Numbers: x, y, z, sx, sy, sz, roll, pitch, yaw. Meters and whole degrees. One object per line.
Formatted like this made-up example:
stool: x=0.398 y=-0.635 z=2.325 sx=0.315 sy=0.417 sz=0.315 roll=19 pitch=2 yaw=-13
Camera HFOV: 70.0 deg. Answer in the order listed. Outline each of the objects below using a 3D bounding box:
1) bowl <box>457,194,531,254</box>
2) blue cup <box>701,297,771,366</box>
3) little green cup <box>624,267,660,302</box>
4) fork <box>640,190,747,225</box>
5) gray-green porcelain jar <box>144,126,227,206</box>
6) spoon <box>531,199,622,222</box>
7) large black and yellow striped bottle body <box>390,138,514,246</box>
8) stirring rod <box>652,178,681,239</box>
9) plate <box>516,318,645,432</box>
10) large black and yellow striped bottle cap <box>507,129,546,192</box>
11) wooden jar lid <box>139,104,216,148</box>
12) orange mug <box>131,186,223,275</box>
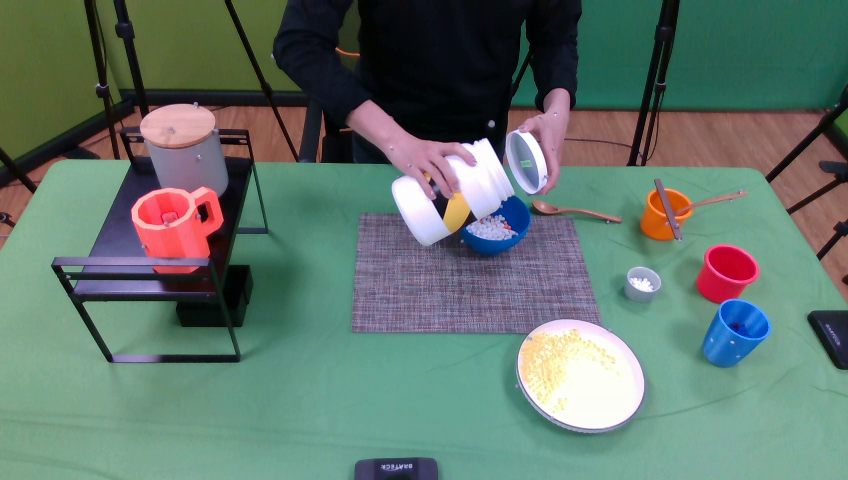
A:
bowl: x=0.128 y=-0.025 z=1.187 sx=0.151 sy=0.077 sz=0.150 roll=2 pitch=45 yaw=-2
blue cup: x=0.519 y=0.162 z=1.025 sx=0.093 sy=0.101 sz=0.092 roll=3 pitch=45 yaw=-3
little green cup: x=0.406 y=0.084 z=1.135 sx=0.061 sy=0.039 sz=0.061 roll=3 pitch=46 yaw=-3
fork: x=0.533 y=-0.064 z=1.211 sx=0.207 sy=0.019 sz=0.028 roll=-22 pitch=28 yaw=38
gray-green porcelain jar: x=-0.375 y=-0.125 z=0.967 sx=0.106 sy=0.127 sz=0.105 roll=2 pitch=46 yaw=-2
spoon: x=0.322 y=-0.060 z=1.279 sx=0.194 sy=0.022 sz=0.041 roll=8 pitch=32 yaw=5
large black and yellow striped bottle body: x=0.049 y=-0.084 z=1.037 sx=0.184 sy=0.131 sz=0.130 roll=-28 pitch=48 yaw=9
stirring rod: x=0.481 y=-0.065 z=1.204 sx=0.014 sy=0.006 sz=0.175 roll=2 pitch=46 yaw=-1
plate: x=0.253 y=0.221 z=0.993 sx=0.209 sy=0.038 sz=0.208 roll=2 pitch=46 yaw=-2
large black and yellow striped bottle cap: x=0.179 y=-0.138 z=1.057 sx=0.019 sy=0.115 sz=0.114 roll=-25 pitch=51 yaw=-4
wooden jar lid: x=-0.372 y=-0.169 z=0.920 sx=0.108 sy=0.021 sz=0.107 roll=4 pitch=44 yaw=-4
orange mug: x=-0.354 y=-0.023 z=0.887 sx=0.083 sy=0.101 sz=0.126 roll=31 pitch=56 yaw=24
